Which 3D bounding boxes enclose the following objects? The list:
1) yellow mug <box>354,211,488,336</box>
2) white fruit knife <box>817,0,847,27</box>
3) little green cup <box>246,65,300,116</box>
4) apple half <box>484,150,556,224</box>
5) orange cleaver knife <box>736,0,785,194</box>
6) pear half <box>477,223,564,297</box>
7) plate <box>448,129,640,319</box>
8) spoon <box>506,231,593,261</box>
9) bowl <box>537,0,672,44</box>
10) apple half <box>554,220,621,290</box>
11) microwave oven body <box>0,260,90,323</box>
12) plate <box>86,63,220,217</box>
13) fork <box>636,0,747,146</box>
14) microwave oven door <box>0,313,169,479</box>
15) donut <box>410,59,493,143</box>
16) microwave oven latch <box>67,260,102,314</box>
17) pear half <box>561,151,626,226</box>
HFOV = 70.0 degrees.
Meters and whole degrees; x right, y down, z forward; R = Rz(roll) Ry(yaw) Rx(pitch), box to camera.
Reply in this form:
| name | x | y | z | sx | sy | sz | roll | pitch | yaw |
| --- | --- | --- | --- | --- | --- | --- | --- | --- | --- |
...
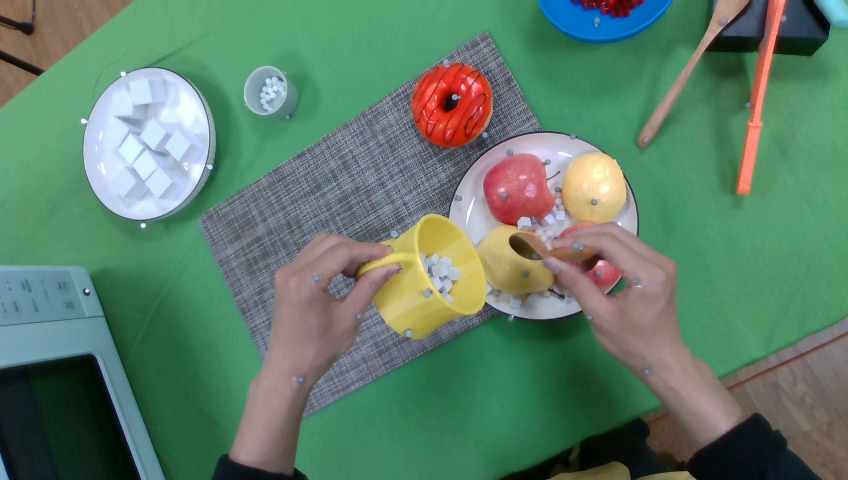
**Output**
| name | x | y | z | sx | sy | sz | roll | pitch | yaw |
| --- | --- | --- | --- | --- | --- | --- | --- | --- | --- |
| yellow mug | -0.007 | 0.029 | 0.546 | 0.064 | 0.132 | 0.099 | -30 | 64 | 33 |
| white fruit knife | 0.352 | -0.288 | 0.579 | 0.027 | 0.016 | 0.206 | -23 | 79 | -15 |
| little green cup | -0.191 | -0.188 | 0.776 | 0.061 | 0.039 | 0.061 | -1 | 88 | 17 |
| apple half | 0.103 | -0.058 | 0.664 | 0.074 | 0.053 | 0.080 | -12 | 89 | 17 |
| orange cleaver knife | 0.332 | -0.152 | 0.598 | 0.012 | 0.077 | 0.213 | 8 | 117 | 22 |
| pear half | 0.109 | 0.029 | 0.664 | 0.109 | 0.056 | 0.076 | 35 | 102 | 8 |
| plate | 0.130 | -0.017 | 0.673 | 0.208 | 0.038 | 0.209 | -1 | 88 | 16 |
| spoon | 0.107 | 0.008 | 0.524 | 0.042 | 0.193 | 0.021 | 36 | 90 | -6 |
| bowl | 0.194 | -0.275 | 0.644 | 0.151 | 0.077 | 0.151 | 0 | 89 | 16 |
| apple half | 0.166 | 0.018 | 0.645 | 0.081 | 0.033 | 0.081 | 6 | 100 | 39 |
| microwave oven body | -0.557 | 0.287 | 0.753 | 0.326 | 0.261 | 0.440 | -27 | 82 | 14 |
| plate | -0.364 | -0.133 | 0.826 | 0.207 | 0.039 | 0.207 | 0 | 89 | 17 |
| fork | 0.274 | -0.186 | 0.613 | 0.028 | 0.018 | 0.208 | 30 | 117 | 7 |
| microwave oven door | -0.415 | 0.261 | 0.706 | 0.039 | 0.245 | 0.354 | -27 | 81 | 14 |
| donut | 0.032 | -0.160 | 0.702 | 0.098 | 0.048 | 0.099 | 0 | 90 | 19 |
| microwave oven latch | -0.474 | 0.067 | 0.834 | 0.030 | 0.029 | 0.079 | -24 | 83 | 14 |
| pear half | 0.176 | -0.051 | 0.646 | 0.070 | 0.031 | 0.088 | 4 | 100 | 39 |
